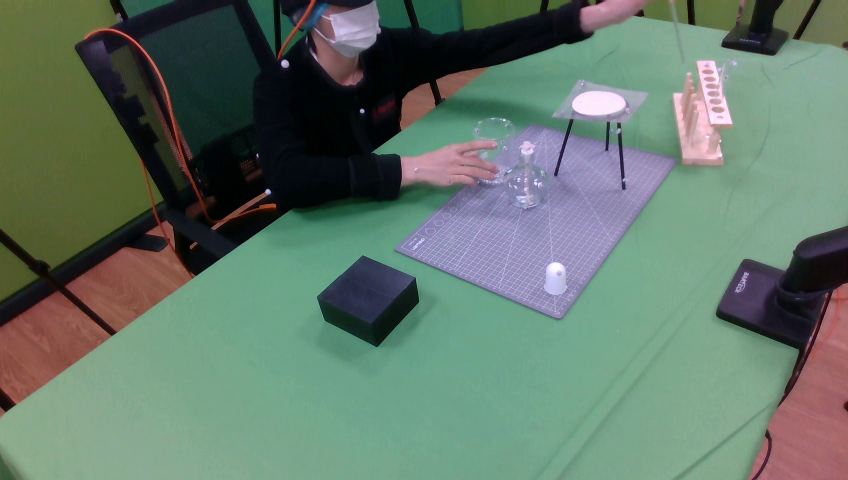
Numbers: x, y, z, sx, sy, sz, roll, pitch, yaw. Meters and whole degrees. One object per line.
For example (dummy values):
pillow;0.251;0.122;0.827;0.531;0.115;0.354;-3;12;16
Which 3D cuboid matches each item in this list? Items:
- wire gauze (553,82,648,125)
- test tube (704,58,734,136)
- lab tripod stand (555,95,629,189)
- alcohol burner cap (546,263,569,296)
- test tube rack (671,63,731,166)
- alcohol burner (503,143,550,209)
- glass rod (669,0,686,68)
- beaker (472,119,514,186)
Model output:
wire gauze;0.293;-0.225;1.002;0.120;0.011;0.125;17;45;27
test tube;0.517;-0.247;1.062;0.017;0.151;0.017;-3;43;4
lab tripod stand;0.300;-0.174;1.045;0.148;0.132;0.147;-5;38;5
alcohol burner cap;0.191;0.053;0.862;0.034;0.048;0.033;-5;40;4
test tube rack;0.513;-0.241;1.132;0.066;0.085;0.242;4;41;14
alcohol burner;0.171;-0.111;1.006;0.078;0.119;0.077;-3;41;3
glass rod;0.446;-0.402;1.079;0.008;0.200;0.008;-19;24;9
beaker;0.127;-0.155;1.077;0.073;0.101;0.084;29;52;36
